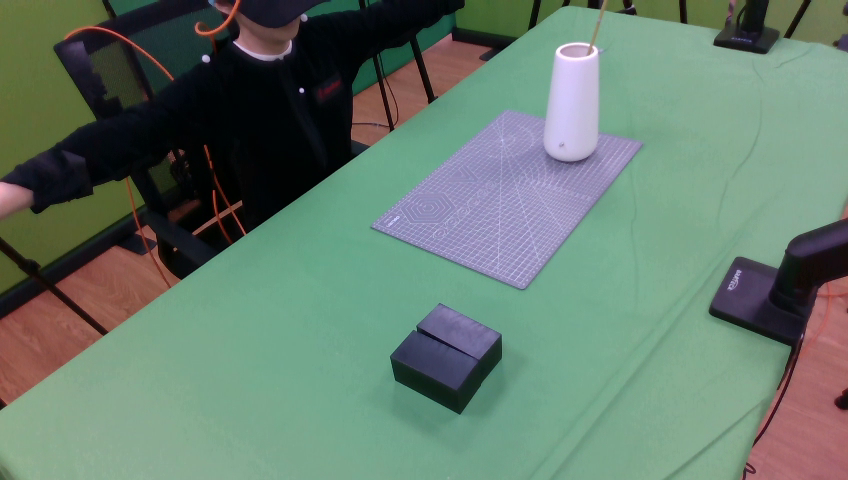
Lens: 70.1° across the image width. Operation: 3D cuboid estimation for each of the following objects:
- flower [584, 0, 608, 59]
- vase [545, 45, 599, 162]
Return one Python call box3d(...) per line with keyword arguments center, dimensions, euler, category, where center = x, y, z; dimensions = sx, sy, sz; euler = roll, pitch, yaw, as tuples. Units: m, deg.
box3d(center=(0.274, -0.306, 1.025), dimensions=(0.038, 0.362, 0.044), euler=(12, 36, -1), category="flower")
box3d(center=(0.267, -0.238, 1.074), dimensions=(0.098, 0.201, 0.097), euler=(-4, 42, 4), category="vase")
